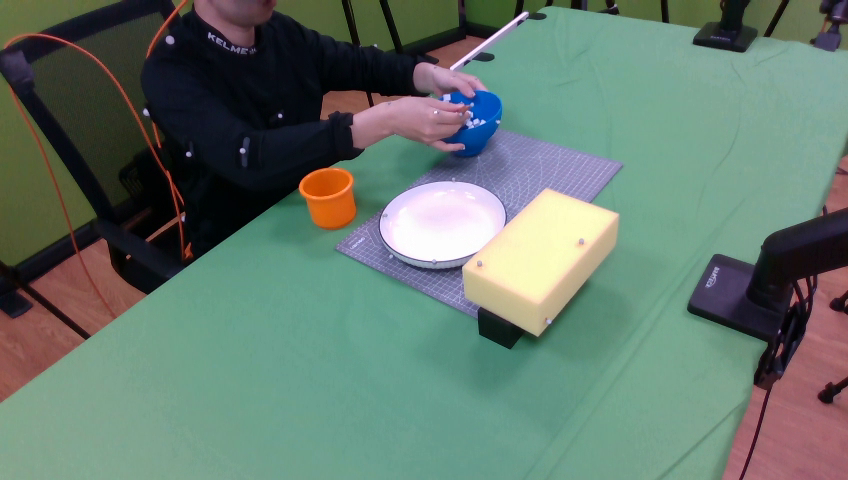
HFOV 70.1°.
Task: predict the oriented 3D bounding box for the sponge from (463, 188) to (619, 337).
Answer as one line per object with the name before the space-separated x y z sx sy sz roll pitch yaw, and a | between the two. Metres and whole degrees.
sponge | 0.160 0.022 0.814 0.117 0.061 0.207 24 50 32

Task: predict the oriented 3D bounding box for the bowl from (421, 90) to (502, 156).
bowl | 0.077 -0.211 1.138 0.151 0.077 0.150 -8 40 7

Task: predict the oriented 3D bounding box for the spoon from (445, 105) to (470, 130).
spoon | 0.062 -0.218 1.073 0.042 0.021 0.193 -13 -1 -2

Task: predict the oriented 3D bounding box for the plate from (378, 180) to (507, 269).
plate | 0.031 -0.022 0.974 0.209 0.038 0.208 -4 40 4
